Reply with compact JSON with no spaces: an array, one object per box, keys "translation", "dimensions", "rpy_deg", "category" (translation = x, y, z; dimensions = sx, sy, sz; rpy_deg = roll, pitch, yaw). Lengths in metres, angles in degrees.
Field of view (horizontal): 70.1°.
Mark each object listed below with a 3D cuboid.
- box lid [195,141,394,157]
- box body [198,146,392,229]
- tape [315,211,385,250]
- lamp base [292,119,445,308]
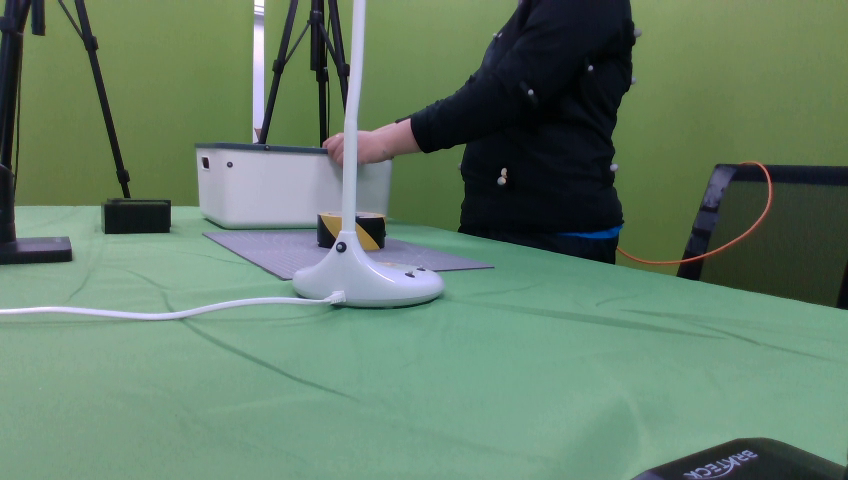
[{"translation":[-0.277,-0.190,1.282],"dimensions":[0.373,0.015,0.262],"rpy_deg":[-1,8,-30],"category":"box lid"},{"translation":[-0.278,-0.117,1.292],"dimensions":[0.366,0.160,0.253],"rpy_deg":[-2,8,-30],"category":"box body"},{"translation":[-0.119,-0.017,0.973],"dimensions":[0.117,0.052,0.117],"rpy_deg":[2,7,0],"category":"tape"},{"translation":[-0.056,-0.030,0.616],"dimensions":[0.160,0.180,0.179],"rpy_deg":[4,10,8],"category":"lamp base"}]
